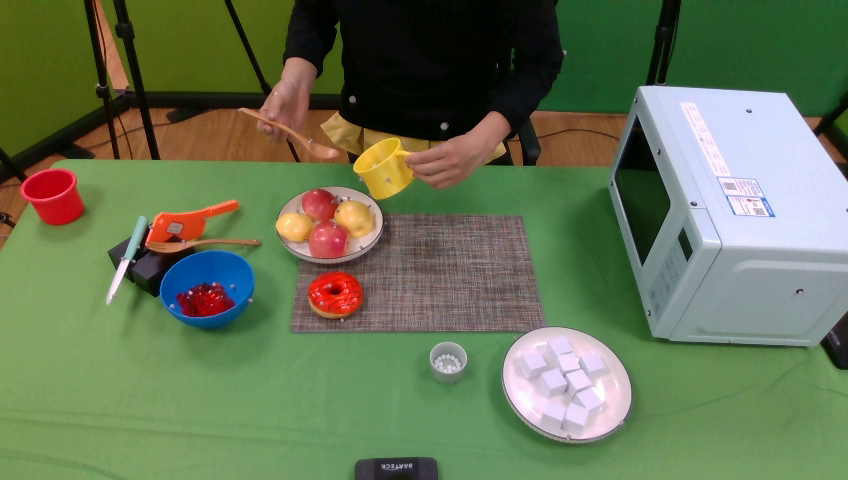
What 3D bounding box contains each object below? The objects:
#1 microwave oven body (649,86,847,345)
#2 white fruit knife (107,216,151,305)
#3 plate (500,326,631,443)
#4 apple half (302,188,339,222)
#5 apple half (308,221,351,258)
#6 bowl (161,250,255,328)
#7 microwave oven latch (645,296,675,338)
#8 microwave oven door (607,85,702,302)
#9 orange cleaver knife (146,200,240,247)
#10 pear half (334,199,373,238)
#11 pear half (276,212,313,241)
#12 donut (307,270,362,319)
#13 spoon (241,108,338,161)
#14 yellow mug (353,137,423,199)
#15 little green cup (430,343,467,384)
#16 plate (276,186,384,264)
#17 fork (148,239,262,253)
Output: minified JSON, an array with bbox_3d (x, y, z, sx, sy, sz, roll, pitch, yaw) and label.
[{"bbox_3d":[0.567,-0.053,1.118,0.326,0.261,0.439,2,45,-1],"label":"microwave oven body"},{"bbox_3d":[-0.518,0.032,1.066,0.027,0.016,0.206,-19,45,19],"label":"white fruit knife"},{"bbox_3d":[0.224,0.234,0.978,0.208,0.039,0.206,2,46,-2],"label":"plate"},{"bbox_3d":[-0.205,-0.076,1.216,0.081,0.033,0.081,18,45,-19],"label":"apple half"},{"bbox_3d":[-0.180,-0.005,1.150,0.074,0.053,0.080,14,43,9],"label":"apple half"},{"bbox_3d":[-0.362,0.097,1.040,0.151,0.077,0.150,2,45,-2],"label":"bowl"},{"bbox_3d":[0.412,0.134,1.061,0.030,0.029,0.078,3,45,0],"label":"microwave oven latch"},{"bbox_3d":[0.423,-0.094,1.140,0.039,0.245,0.353,2,46,-1],"label":"microwave oven door"},{"bbox_3d":[-0.435,-0.033,1.157,0.012,0.077,0.211,31,26,18],"label":"orange cleaver knife"},{"bbox_3d":[-0.147,-0.060,1.210,0.076,0.056,0.109,-16,46,-24],"label":"pear half"},{"bbox_3d":[-0.245,-0.035,1.179,0.070,0.031,0.088,40,41,0],"label":"pear half"},{"bbox_3d":[-0.157,0.097,1.073,0.099,0.048,0.098,4,45,-4],"label":"donut"},{"bbox_3d":[-0.241,-0.191,1.084,0.194,0.022,0.041,31,42,1],"label":"spoon"},{"bbox_3d":[-0.057,-0.132,1.088,0.130,0.064,0.099,-5,42,40],"label":"yellow mug"},{"bbox_3d":[0.039,0.203,0.993,0.061,0.039,0.061,2,46,-2],"label":"little green cup"},{"bbox_3d":[-0.184,-0.027,1.195,0.209,0.038,0.208,2,46,-2],"label":"plate"},{"bbox_3d":[-0.398,0.008,1.117,0.208,0.019,0.028,-5,35,-37],"label":"fork"}]
